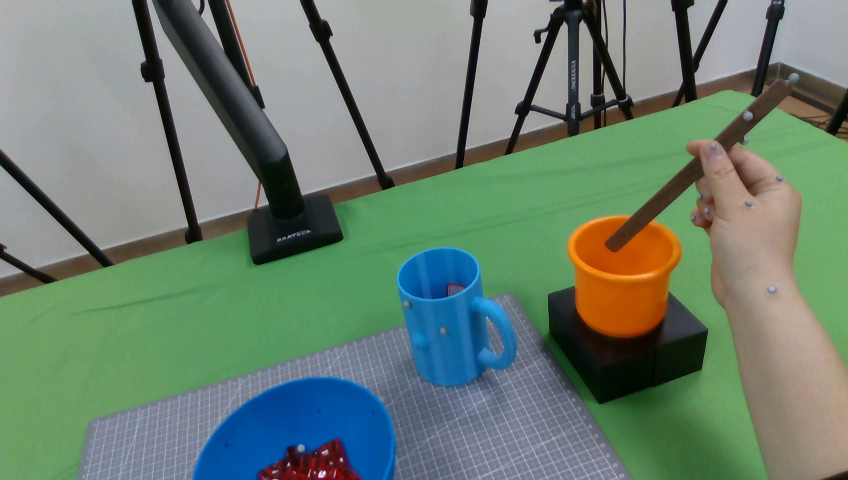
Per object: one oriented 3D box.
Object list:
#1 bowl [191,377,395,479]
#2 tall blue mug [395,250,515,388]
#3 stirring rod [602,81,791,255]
[{"bbox_3d":[-0.090,0.188,0.464,0.151,0.077,0.150,-6,35,5],"label":"bowl"},{"bbox_3d":[0.034,0.075,0.565,0.107,0.109,0.077,0,36,14],"label":"tall blue mug"},{"bbox_3d":[0.202,-0.050,0.463,0.014,0.176,0.006,40,30,-1],"label":"stirring rod"}]
